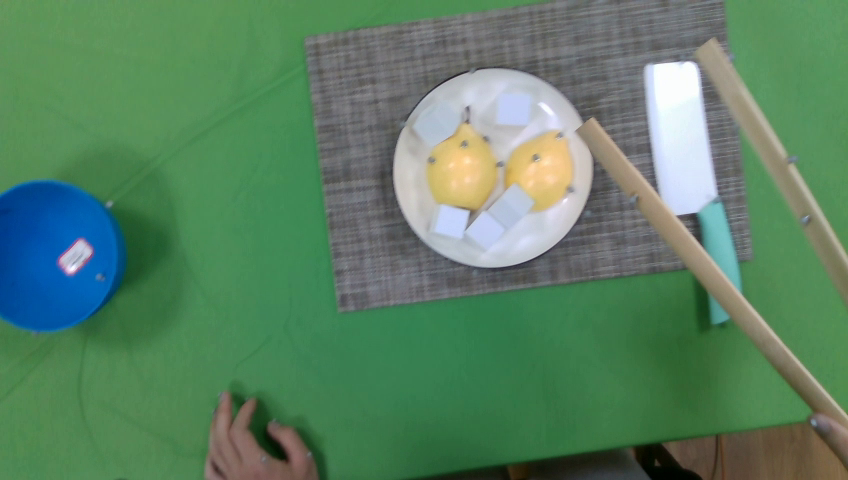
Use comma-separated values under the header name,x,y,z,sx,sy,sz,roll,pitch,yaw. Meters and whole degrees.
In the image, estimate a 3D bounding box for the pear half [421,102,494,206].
name,x,y,z,sx,sy,sz,roll,pitch,yaw
pear half,0.036,-0.092,0.624,0.076,0.056,0.109,2,87,-2

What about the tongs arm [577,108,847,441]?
name,x,y,z,sx,sy,sz,roll,pitch,yaw
tongs arm,0.252,0.046,0.466,0.028,0.028,0.388,-43,92,-22

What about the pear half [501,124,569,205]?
name,x,y,z,sx,sy,sz,roll,pitch,yaw
pear half,0.119,-0.080,0.631,0.070,0.031,0.088,24,97,-3

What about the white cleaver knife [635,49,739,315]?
name,x,y,z,sx,sy,sz,roll,pitch,yaw
white cleaver knife,0.279,-0.061,0.646,0.066,0.021,0.286,-11,88,10

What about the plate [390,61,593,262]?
name,x,y,z,sx,sy,sz,roll,pitch,yaw
plate,0.070,-0.080,0.638,0.207,0.039,0.207,0,91,2

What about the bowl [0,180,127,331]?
name,x,y,z,sx,sy,sz,roll,pitch,yaw
bowl,-0.376,0.015,0.635,0.151,0.077,0.151,0,91,1

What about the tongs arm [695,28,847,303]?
name,x,y,z,sx,sy,sz,roll,pitch,yaw
tongs arm,0.312,0.006,0.488,0.051,0.026,0.384,-31,89,-19
